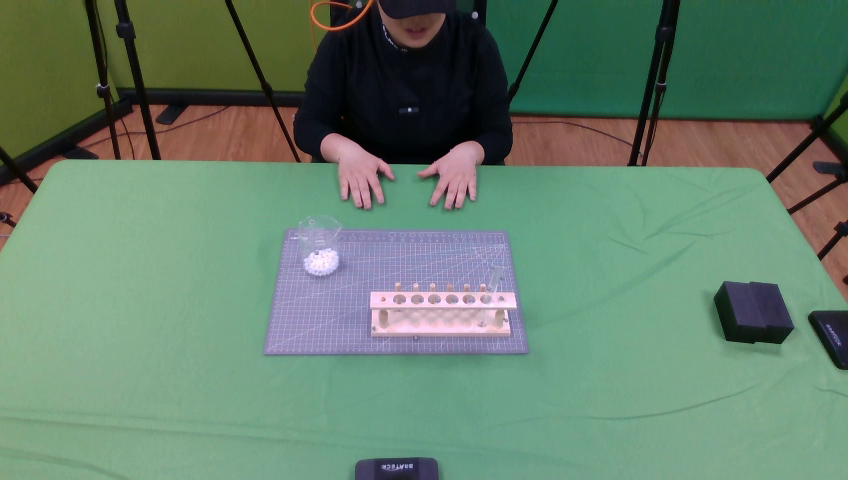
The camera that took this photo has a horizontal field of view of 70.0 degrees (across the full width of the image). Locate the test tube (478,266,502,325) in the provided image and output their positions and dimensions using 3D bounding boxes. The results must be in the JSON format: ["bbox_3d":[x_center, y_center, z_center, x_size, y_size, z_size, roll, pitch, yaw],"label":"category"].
[{"bbox_3d":[0.107,0.096,0.998,0.017,0.151,0.017,4,48,-4],"label":"test tube"}]

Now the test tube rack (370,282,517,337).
[{"bbox_3d":[0.030,0.116,1.041,0.242,0.085,0.066,1,46,-4],"label":"test tube rack"}]

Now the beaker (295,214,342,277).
[{"bbox_3d":[-0.191,0.013,1.114,0.084,0.101,0.073,-12,49,-17],"label":"beaker"}]
